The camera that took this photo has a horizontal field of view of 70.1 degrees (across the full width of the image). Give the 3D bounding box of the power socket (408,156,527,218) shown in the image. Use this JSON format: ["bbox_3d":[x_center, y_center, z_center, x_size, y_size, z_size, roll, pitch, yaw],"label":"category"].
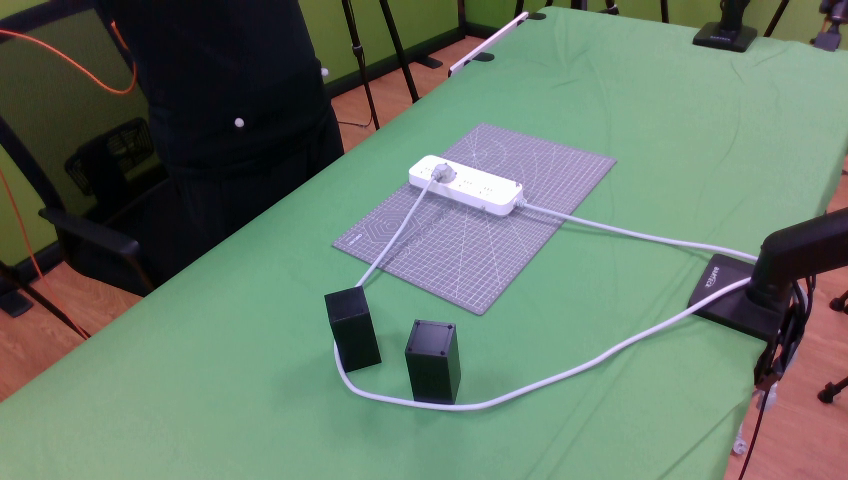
[{"bbox_3d":[0.070,-0.095,1.059,0.225,0.033,0.072,22,49,30],"label":"power socket"}]

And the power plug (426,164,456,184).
[{"bbox_3d":[0.024,-0.103,1.047,0.073,0.053,0.035,-36,47,-26],"label":"power plug"}]
